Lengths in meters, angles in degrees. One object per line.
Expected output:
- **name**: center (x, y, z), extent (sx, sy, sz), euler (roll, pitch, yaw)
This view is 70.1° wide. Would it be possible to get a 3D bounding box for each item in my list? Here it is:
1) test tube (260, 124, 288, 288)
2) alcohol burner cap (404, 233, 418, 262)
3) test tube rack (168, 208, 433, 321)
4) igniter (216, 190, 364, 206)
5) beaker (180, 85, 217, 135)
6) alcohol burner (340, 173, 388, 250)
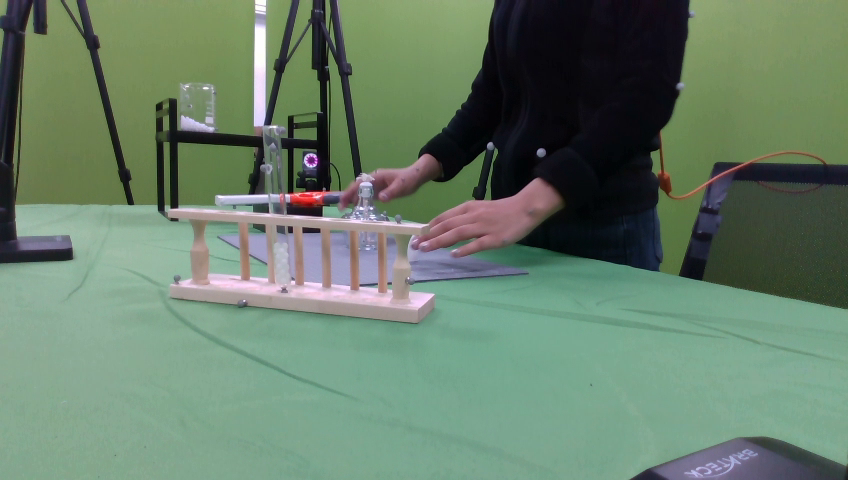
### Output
- **test tube**: center (-0.137, -0.030, 0.553), extent (0.017, 0.150, 0.017), euler (-2, 10, 1)
- **alcohol burner cap**: center (-0.024, 0.005, 0.847), extent (0.034, 0.048, 0.034), euler (3, 9, 0)
- **test tube rack**: center (-0.116, 0.017, 0.574), extent (0.242, 0.085, 0.067), euler (4, 8, 13)
- **igniter**: center (-0.249, -0.079, 1.152), extent (0.278, 0.025, 0.057), euler (-4, 12, -27)
- **beaker**: center (-0.478, -0.275, 1.279), extent (0.074, 0.100, 0.084), euler (4, 8, 15)
- **alcohol burner**: center (-0.094, -0.045, 0.939), extent (0.078, 0.119, 0.078), euler (0, 7, 0)
